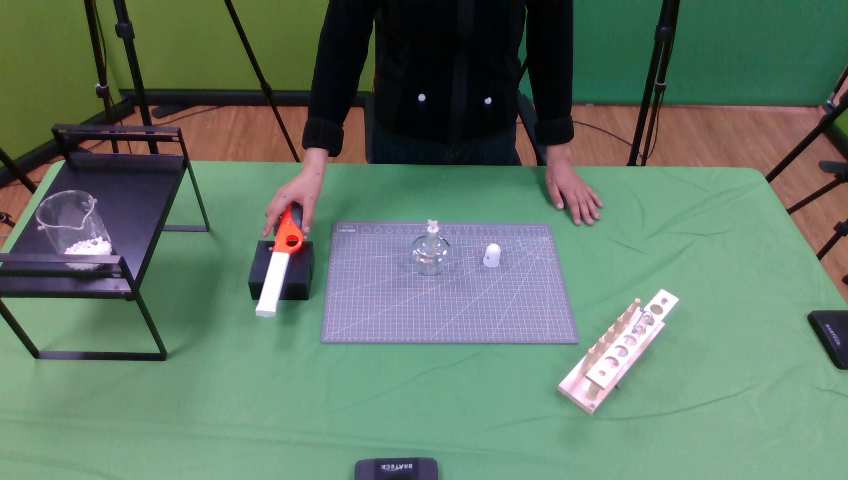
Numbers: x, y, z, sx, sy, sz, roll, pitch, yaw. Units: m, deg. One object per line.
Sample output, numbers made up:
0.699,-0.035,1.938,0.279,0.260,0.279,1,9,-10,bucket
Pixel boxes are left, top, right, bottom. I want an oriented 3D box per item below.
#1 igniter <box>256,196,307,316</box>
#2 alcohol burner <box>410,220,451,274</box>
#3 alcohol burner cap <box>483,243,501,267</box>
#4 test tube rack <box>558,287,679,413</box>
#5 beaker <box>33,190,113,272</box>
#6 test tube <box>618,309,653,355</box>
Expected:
-0.254,0.019,1.090,0.057,0.025,0.275,7,48,-3,igniter
0.013,0.007,1.120,0.078,0.120,0.077,1,48,-1,alcohol burner
0.132,0.025,1.161,0.034,0.048,0.033,3,47,-3,alcohol burner cap
0.326,0.170,1.009,0.066,0.085,0.242,36,54,27,test tube rack
-0.493,-0.009,0.865,0.083,0.101,0.074,37,55,27,beaker
0.329,0.155,0.956,0.017,0.151,0.017,2,51,-2,test tube
